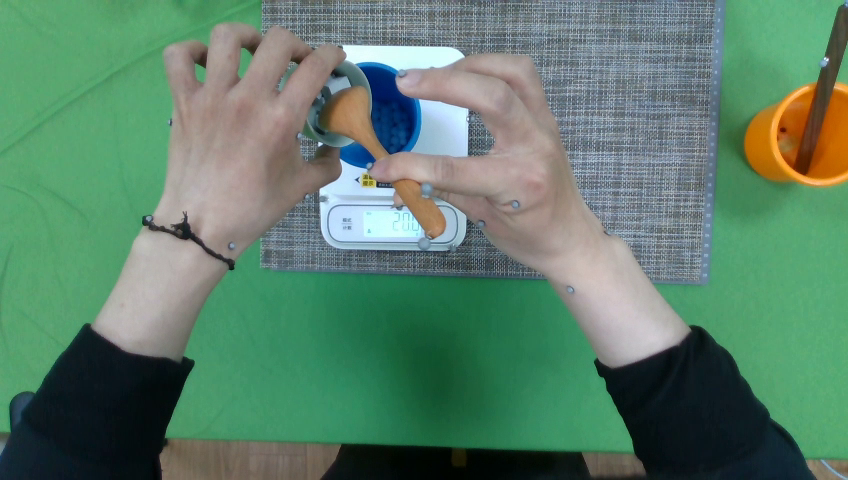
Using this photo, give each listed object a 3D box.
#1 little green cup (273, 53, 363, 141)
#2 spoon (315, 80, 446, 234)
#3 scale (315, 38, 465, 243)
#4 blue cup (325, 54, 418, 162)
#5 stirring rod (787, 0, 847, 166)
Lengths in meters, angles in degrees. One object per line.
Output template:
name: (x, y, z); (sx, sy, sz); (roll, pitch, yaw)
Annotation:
little green cup: (-0.077, -0.105, 0.439); (0.038, 0.062, 0.061); (21, 97, 37)
spoon: (-0.027, -0.056, 0.359); (0.041, 0.191, 0.022); (-36, 134, -1)
scale: (-0.034, -0.096, 0.600); (0.148, 0.031, 0.201); (0, 95, 3)
blue cup: (-0.043, -0.110, 0.535); (0.092, 0.100, 0.093); (0, 97, 4)
stirring rod: (0.343, -0.133, 0.529); (0.014, 0.005, 0.178); (-12, 136, 5)
